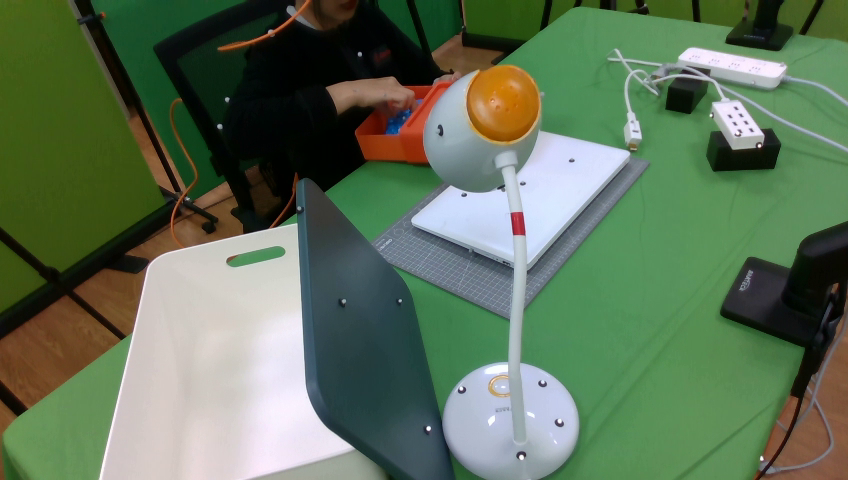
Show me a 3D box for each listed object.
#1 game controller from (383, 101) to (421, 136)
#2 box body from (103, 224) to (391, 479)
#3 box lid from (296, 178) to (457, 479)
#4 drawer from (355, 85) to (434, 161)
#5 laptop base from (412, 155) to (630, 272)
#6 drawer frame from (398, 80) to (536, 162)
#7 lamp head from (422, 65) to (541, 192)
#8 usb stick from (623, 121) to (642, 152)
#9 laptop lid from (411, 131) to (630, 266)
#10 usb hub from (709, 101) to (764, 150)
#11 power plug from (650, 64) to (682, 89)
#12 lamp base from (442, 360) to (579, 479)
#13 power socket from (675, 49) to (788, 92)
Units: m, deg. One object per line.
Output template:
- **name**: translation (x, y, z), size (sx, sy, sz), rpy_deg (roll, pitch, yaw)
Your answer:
- **game controller**: translation (-0.041, -0.237, 1.241), size (0.096, 0.052, 0.155), rpy_deg (3, 43, 29)
- **box body**: translation (-0.190, 0.161, 0.723), size (0.255, 0.161, 0.361), rpy_deg (-13, 40, -5)
- **box lid**: translation (-0.060, 0.103, 0.702), size (0.015, 0.265, 0.369), rpy_deg (-30, 39, 11)
- **drawer**: translation (0.000, -0.237, 1.213), size (0.210, 0.073, 0.194), rpy_deg (6, 43, 27)
- **laptop base**: translation (0.175, -0.084, 1.056), size (0.233, 0.023, 0.355), rpy_deg (21, 48, 35)
- **drawer frame**: translation (0.090, -0.230, 1.170), size (0.212, 0.083, 0.201), rpy_deg (6, 42, 25)
- **lamp head**: translation (0.060, -0.106, 0.560), size (0.113, 0.112, 0.122), rpy_deg (-17, 0, -8)
- **usb stick**: translation (0.389, -0.191, 1.128), size (0.021, 0.027, 0.059), rpy_deg (9, 61, -9)
- **laptop lid**: translation (0.172, -0.094, 1.050), size (0.239, 0.013, 0.358), rpy_deg (23, 49, 36)
- **usb hub**: translation (0.534, -0.199, 1.040), size (0.049, 0.025, 0.124), rpy_deg (-5, 39, 8)
- **power plug**: translation (0.498, -0.341, 1.263), size (0.035, 0.052, 0.072), rpy_deg (20, 10, -7)
- **lamp base**: translation (0.094, 0.158, 0.657), size (0.161, 0.181, 0.178), rpy_deg (-14, 42, -5)
- **power socket**: translation (0.647, -0.363, 1.284), size (0.225, 0.033, 0.072), rpy_deg (26, 53, 35)
